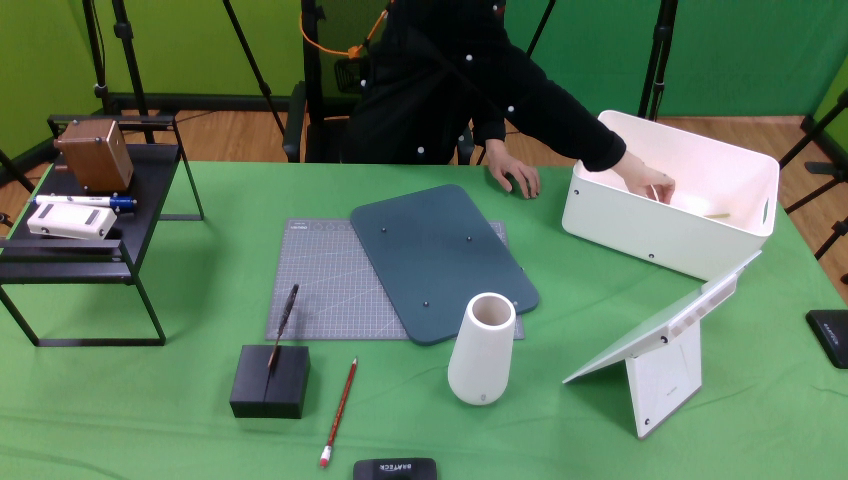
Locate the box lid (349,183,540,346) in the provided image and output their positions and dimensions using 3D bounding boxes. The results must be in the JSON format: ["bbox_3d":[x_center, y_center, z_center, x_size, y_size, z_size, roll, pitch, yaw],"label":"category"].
[{"bbox_3d":[0.030,0.031,1.176,0.263,0.015,0.369,-16,49,-18],"label":"box lid"}]

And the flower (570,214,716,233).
[{"bbox_3d":[0.474,-0.037,1.282,0.362,0.038,0.044,-1,22,-19],"label":"flower"}]

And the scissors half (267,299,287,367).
[{"bbox_3d":[-0.239,0.150,0.997,0.013,0.040,0.174,24,24,-13],"label":"scissors half"}]

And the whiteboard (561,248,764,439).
[{"bbox_3d":[0.386,0.176,0.905,0.217,0.306,0.143,-26,72,-26],"label":"whiteboard"}]

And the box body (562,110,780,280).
[{"bbox_3d":[0.486,-0.088,1.222,0.363,0.161,0.253,20,48,15],"label":"box body"}]

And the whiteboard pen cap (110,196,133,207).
[{"bbox_3d":[-0.485,-0.061,0.972,0.033,0.018,0.018,0,47,-8],"label":"whiteboard pen cap"}]

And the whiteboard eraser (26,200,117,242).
[{"bbox_3d":[-0.532,-0.026,0.919,0.113,0.042,0.055,7,45,3],"label":"whiteboard eraser"}]

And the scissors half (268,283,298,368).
[{"bbox_3d":[-0.230,0.135,0.986,0.013,0.040,0.174,19,43,-11],"label":"scissors half"}]

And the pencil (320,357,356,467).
[{"bbox_3d":[-0.130,0.261,0.947,0.012,0.012,0.193,10,45,5],"label":"pencil"}]

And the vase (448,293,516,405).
[{"bbox_3d":[0.091,0.169,0.921,0.098,0.201,0.097,3,47,-3],"label":"vase"}]

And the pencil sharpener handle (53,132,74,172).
[{"bbox_3d":[-0.578,-0.138,0.961,0.031,0.068,0.036,-4,34,-7],"label":"pencil sharpener handle"}]

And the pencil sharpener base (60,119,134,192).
[{"bbox_3d":[-0.528,-0.135,0.979,0.077,0.107,0.061,-4,47,-7],"label":"pencil sharpener base"}]

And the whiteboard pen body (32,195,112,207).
[{"bbox_3d":[-0.543,-0.061,0.961,0.141,0.017,0.017,1,46,-10],"label":"whiteboard pen body"}]
